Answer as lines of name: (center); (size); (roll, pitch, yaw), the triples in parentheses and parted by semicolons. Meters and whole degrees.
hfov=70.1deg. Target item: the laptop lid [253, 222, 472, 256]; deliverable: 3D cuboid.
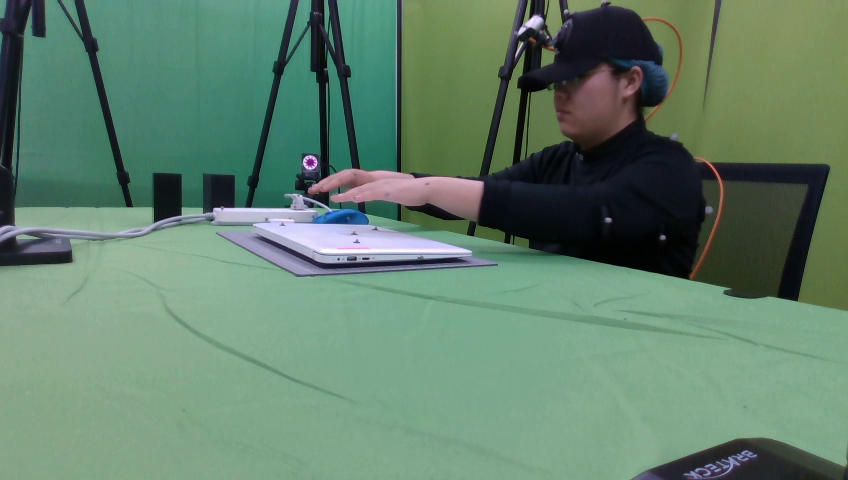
laptop lid: (-0.113, -0.005, 0.955); (0.243, 0.013, 0.355); (1, 7, -29)

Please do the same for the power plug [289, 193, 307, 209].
power plug: (-0.281, -0.076, 1.340); (0.035, 0.052, 0.072); (3, 6, -17)

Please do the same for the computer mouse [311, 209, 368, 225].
computer mouse: (-0.179, -0.044, 1.274); (0.118, 0.041, 0.062); (-5, 12, -28)

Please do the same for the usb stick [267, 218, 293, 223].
usb stick: (-0.272, -0.026, 1.107); (0.059, 0.027, 0.021); (-3, 11, -27)

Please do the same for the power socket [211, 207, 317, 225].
power socket: (-0.334, -0.052, 1.282); (0.228, 0.032, 0.072); (-2, 9, -28)

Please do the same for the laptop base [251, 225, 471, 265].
laptop base: (-0.115, 0.007, 0.955); (0.237, 0.023, 0.352); (2, 6, -30)
